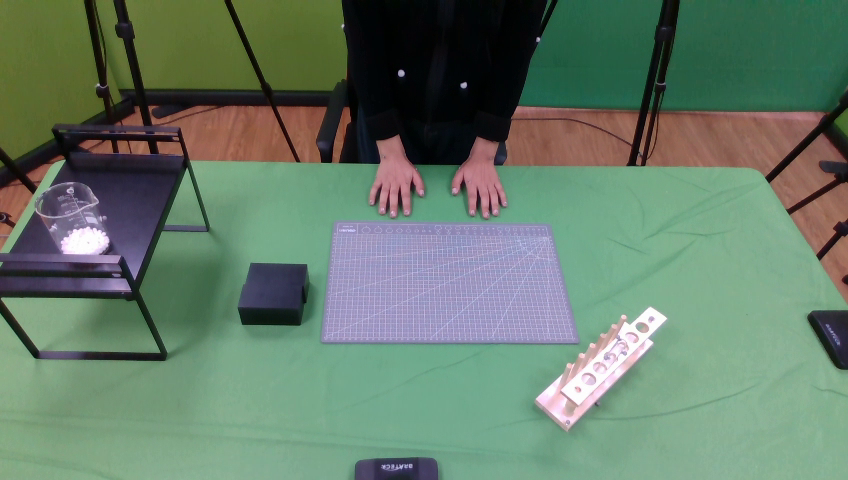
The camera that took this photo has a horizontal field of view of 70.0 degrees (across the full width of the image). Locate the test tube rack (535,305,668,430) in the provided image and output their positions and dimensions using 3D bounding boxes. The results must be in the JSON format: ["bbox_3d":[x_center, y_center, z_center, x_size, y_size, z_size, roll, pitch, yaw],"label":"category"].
[{"bbox_3d":[0.290,0.193,0.984,0.242,0.085,0.066,-32,56,-30],"label":"test tube rack"}]

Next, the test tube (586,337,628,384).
[{"bbox_3d":[0.273,0.191,0.916,0.017,0.151,0.017,5,50,-6],"label":"test tube"}]

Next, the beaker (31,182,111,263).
[{"bbox_3d":[-0.502,-0.022,0.877,0.084,0.101,0.073,-2,47,-7],"label":"beaker"}]
